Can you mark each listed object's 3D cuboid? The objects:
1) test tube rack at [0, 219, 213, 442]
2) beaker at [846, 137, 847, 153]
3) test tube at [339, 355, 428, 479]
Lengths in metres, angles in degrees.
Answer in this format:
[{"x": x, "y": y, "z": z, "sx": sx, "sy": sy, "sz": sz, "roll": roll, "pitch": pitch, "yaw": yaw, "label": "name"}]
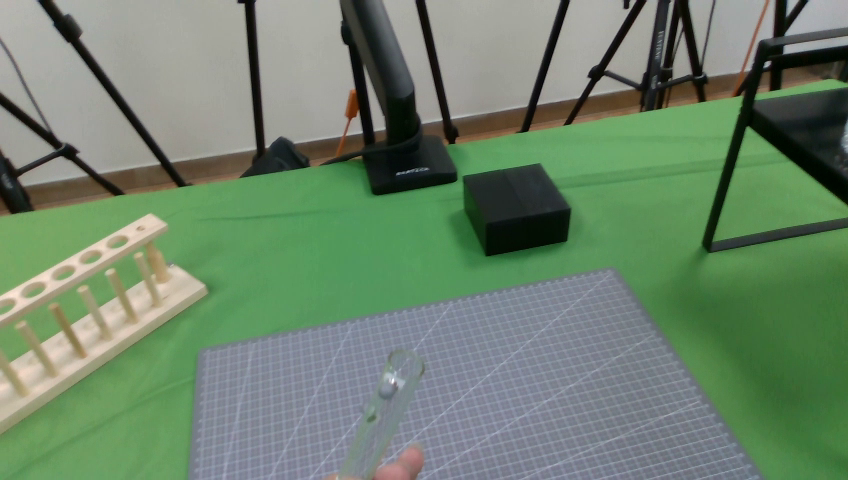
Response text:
[{"x": -0.340, "y": 0.082, "z": 0.600, "sx": 0.066, "sy": 0.086, "sz": 0.242, "roll": 26, "pitch": 48, "yaw": 32, "label": "test tube rack"}, {"x": 0.381, "y": -0.106, "z": 0.469, "sx": 0.074, "sy": 0.101, "sz": 0.083, "roll": -8, "pitch": 39, "yaw": -5, "label": "beaker"}, {"x": -0.029, "y": 0.106, "z": 0.273, "sx": 0.017, "sy": 0.151, "sz": 0.017, "roll": 16, "pitch": 34, "yaw": -11, "label": "test tube"}]
